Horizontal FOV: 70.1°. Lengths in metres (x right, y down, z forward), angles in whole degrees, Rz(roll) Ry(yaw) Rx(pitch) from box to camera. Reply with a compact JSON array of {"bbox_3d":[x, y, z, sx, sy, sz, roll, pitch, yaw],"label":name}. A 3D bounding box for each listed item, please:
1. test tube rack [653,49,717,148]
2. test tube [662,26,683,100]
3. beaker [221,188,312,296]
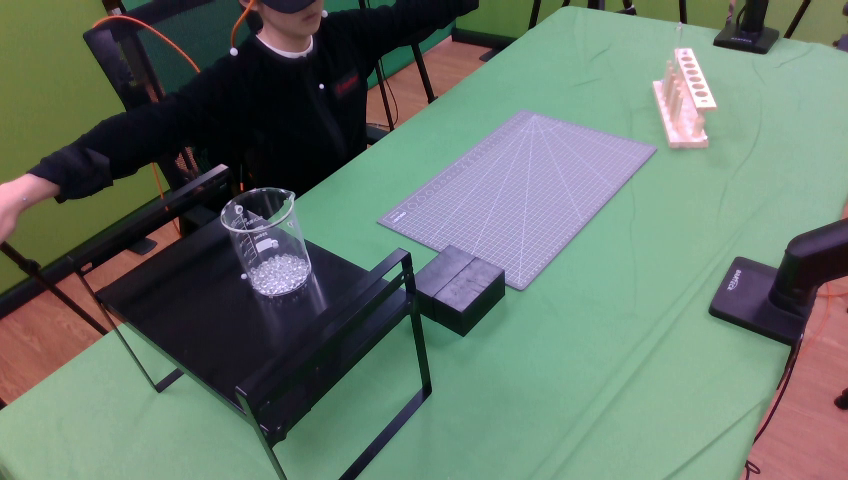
[{"bbox_3d":[0.502,-0.281,1.177,0.066,0.085,0.241,1,41,10],"label":"test tube rack"},{"bbox_3d":[0.485,-0.343,1.182,0.017,0.151,0.017,-3,41,3],"label":"test tube"},{"bbox_3d":[-0.165,0.003,0.659,0.073,0.101,0.084,28,51,34],"label":"beaker"}]
